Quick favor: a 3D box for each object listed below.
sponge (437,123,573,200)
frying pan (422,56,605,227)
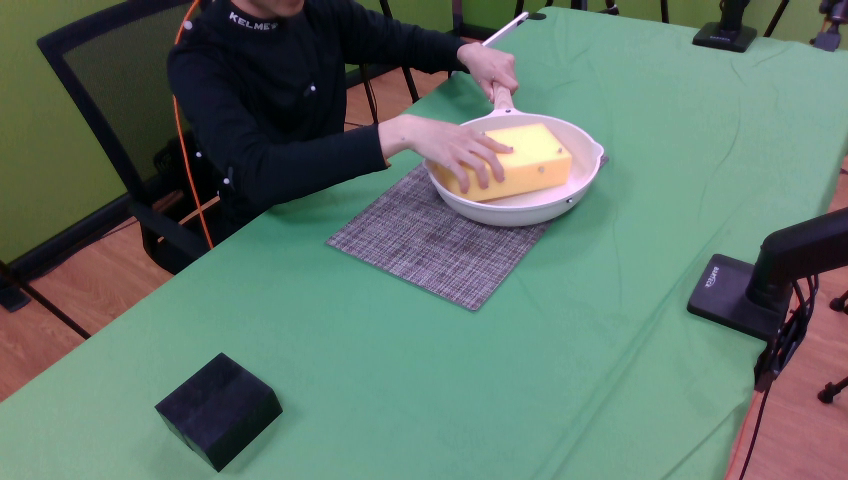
[{"bbox_3d":[0.136,-0.137,1.048,0.208,0.061,0.117,-11,42,-16],"label":"sponge"},{"bbox_3d":[0.155,-0.200,1.111,0.307,0.103,0.485,-2,49,4],"label":"frying pan"}]
